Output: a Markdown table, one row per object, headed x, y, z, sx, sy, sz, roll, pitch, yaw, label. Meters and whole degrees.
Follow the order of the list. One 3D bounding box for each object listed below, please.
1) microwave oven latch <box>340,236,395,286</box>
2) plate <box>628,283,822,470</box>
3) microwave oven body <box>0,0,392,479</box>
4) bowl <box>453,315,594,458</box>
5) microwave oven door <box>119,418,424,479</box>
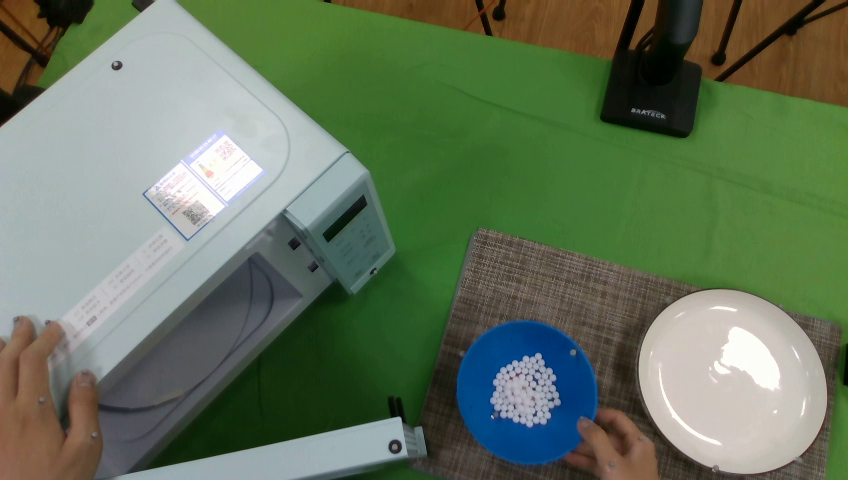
| x | y | z | sx | sy | sz | roll | pitch | yaw | label |
| --- | --- | --- | --- | --- | --- | --- | --- | --- | --- |
| -0.071 | 0.020 | 0.747 | 0.079 | 0.030 | 0.030 | -44 | 75 | -10 | microwave oven latch |
| 0.338 | 0.154 | 0.693 | 0.207 | 0.039 | 0.206 | -1 | 72 | 3 | plate |
| -0.306 | 0.018 | 0.658 | 0.324 | 0.262 | 0.441 | 42 | 79 | 14 | microwave oven body |
| 0.108 | 0.166 | 0.682 | 0.151 | 0.077 | 0.150 | -1 | 72 | 3 | bowl |
| -0.183 | 0.221 | 0.578 | 0.356 | 0.245 | 0.039 | -12 | 71 | -1 | microwave oven door |
